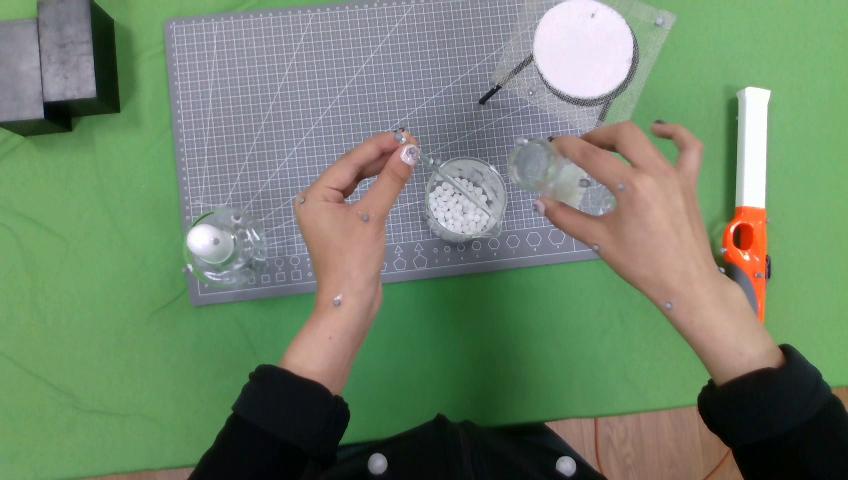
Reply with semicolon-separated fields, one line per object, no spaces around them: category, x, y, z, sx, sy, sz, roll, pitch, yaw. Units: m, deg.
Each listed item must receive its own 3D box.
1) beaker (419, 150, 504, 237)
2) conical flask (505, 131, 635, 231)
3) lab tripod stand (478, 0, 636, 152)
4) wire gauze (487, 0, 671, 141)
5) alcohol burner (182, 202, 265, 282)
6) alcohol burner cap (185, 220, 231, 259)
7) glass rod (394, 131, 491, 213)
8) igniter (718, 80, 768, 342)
beaker;0.035;-0.038;0.587;0.074;0.100;0.084;-43;90;-4
conical flask;0.110;-0.051;0.472;0.075;0.123;0.075;-6;80;38
lab tripod stand;0.131;-0.159;0.581;0.148;0.131;0.148;0;88;-1
wire gauze;0.132;-0.165;0.515;0.125;0.011;0.121;26;88;0
alcohol burner;-0.192;0.001;0.566;0.078;0.119;0.078;0;88;-2
alcohol burner cap;-0.191;-0.003;0.530;0.034;0.048;0.033;1;79;-4
glass rod;0.023;-0.052;0.513;0.008;0.201;0.008;-6;74;24
igniter;0.338;-0.030;0.640;0.057;0.025;0.276;4;87;-13
